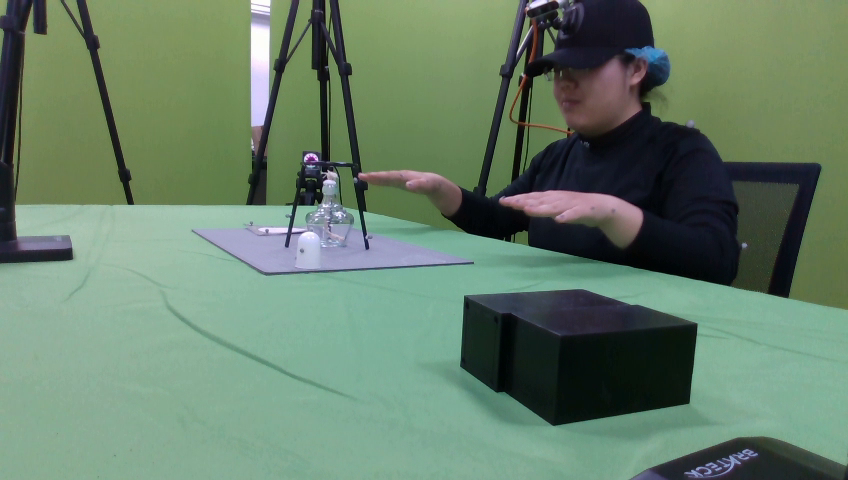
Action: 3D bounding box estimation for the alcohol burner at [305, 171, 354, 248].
[{"bbox_3d":[-0.148,-0.048,0.949,0.078,0.119,0.078,1,6,0],"label":"alcohol burner"}]

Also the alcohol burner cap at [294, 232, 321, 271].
[{"bbox_3d":[-0.144,0.013,0.748,0.034,0.048,0.034,3,6,0],"label":"alcohol burner cap"}]

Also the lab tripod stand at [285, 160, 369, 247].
[{"bbox_3d":[-0.151,-0.058,0.947,0.148,0.131,0.148,1,6,0],"label":"lab tripod stand"}]

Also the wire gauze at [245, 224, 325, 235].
[{"bbox_3d":[-0.256,-0.020,1.108,0.122,0.011,0.124,-1,6,-28],"label":"wire gauze"}]
